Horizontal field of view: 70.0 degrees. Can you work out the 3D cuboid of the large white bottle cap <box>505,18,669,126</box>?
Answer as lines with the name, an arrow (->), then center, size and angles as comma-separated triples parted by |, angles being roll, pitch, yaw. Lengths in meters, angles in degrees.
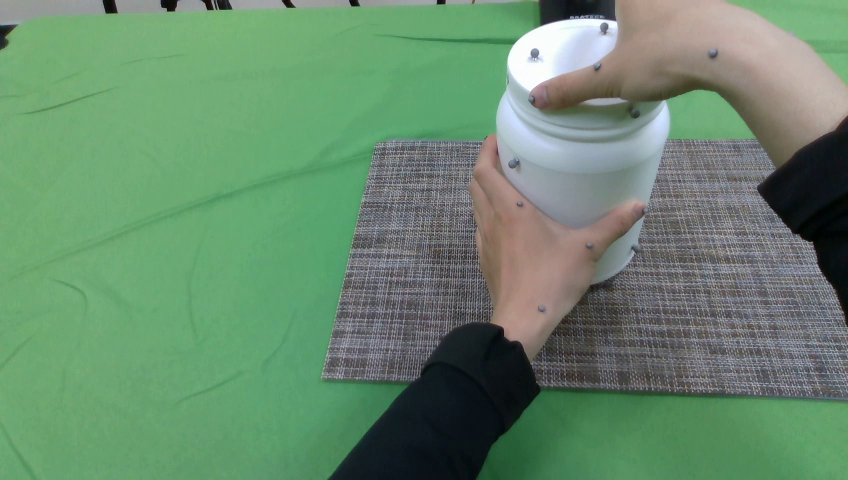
large white bottle cap -> 0.116, -0.124, 0.435 | 0.115, 0.018, 0.113 | -3, 48, 3

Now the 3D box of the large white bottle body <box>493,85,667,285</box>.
large white bottle body -> 0.123, -0.065, 0.501 | 0.130, 0.186, 0.129 | -3, 48, 3
